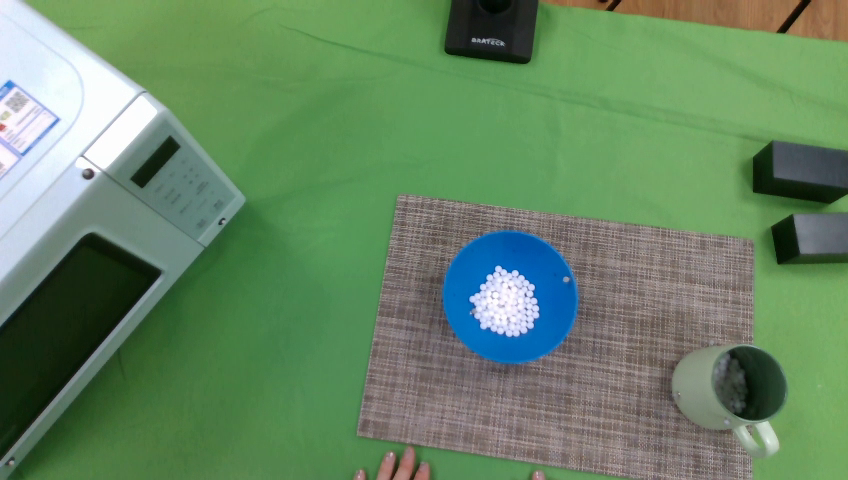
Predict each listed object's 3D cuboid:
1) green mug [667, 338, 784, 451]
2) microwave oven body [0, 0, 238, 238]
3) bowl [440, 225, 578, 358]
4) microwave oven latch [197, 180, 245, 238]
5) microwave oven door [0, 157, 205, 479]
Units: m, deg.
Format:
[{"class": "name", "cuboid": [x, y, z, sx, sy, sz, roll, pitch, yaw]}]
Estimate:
[{"class": "green mug", "cuboid": [0.332, 0.167, 0.657, 0.092, 0.105, 0.124, -23, 75, -6]}, {"class": "microwave oven body", "cuboid": [-0.481, -0.016, 0.634, 0.325, 0.261, 0.441, 36, 78, 9]}, {"class": "bowl", "cuboid": [0.093, 0.065, 0.701, 0.151, 0.077, 0.150, 0, 74, 1]}, {"class": "microwave oven latch", "cuboid": [-0.254, -0.042, 0.740, 0.030, 0.029, 0.079, 38, 79, 10]}, {"class": "microwave oven door", "cuboid": [-0.389, 0.099, 0.597, 0.039, 0.245, 0.355, 35, 78, 11]}]
